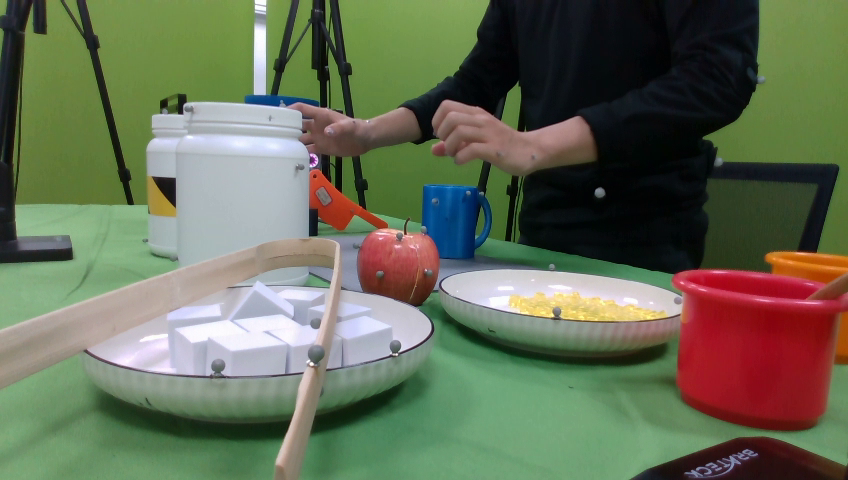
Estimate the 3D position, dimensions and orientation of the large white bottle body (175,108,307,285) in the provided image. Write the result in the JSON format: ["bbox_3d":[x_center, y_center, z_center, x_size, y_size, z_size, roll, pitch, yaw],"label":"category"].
[{"bbox_3d":[-0.188,-0.042,0.630,0.131,0.184,0.130,2,8,0],"label":"large white bottle body"}]

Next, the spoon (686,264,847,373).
[{"bbox_3d":[0.214,0.032,0.328,0.042,0.021,0.193,-3,-35,-26],"label":"spoon"}]

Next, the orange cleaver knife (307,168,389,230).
[{"bbox_3d":[-0.158,-0.060,1.166,0.212,0.077,0.012,34,-12,-31],"label":"orange cleaver knife"}]

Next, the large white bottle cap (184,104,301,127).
[{"bbox_3d":[-0.184,-0.126,0.618,0.115,0.018,0.115,2,8,0],"label":"large white bottle cap"}]

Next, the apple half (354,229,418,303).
[{"bbox_3d":[-0.044,0.027,0.564,0.081,0.081,0.033,9,5,42],"label":"apple half"}]

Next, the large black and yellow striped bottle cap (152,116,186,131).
[{"bbox_3d":[-0.309,-0.155,0.826,0.115,0.019,0.115,3,6,0],"label":"large black and yellow striped bottle cap"}]

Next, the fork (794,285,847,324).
[{"bbox_3d":[0.332,0.018,0.443,0.028,0.018,0.207,-1,-36,-15],"label":"fork"}]

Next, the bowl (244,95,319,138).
[{"bbox_3d":[-0.293,-0.251,1.249,0.151,0.077,0.151,2,7,0],"label":"bowl"}]

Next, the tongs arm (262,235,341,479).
[{"bbox_3d":[-0.074,0.039,0.349,0.051,0.026,0.384,-2,10,-3],"label":"tongs arm"}]

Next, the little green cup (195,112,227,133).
[{"bbox_3d":[-0.412,-0.227,1.171,0.061,0.038,0.061,3,8,0],"label":"little green cup"}]

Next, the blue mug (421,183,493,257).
[{"bbox_3d":[0.052,-0.032,0.912,0.117,0.106,0.082,-1,8,-24],"label":"blue mug"}]

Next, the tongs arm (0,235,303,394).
[{"bbox_3d":[-0.157,0.038,0.351,0.028,0.028,0.388,-3,8,12],"label":"tongs arm"}]

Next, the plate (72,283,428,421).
[{"bbox_3d":[-0.102,0.066,0.381,0.208,0.039,0.207,3,7,0],"label":"plate"}]

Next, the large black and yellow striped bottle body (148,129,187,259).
[{"bbox_3d":[-0.310,-0.073,0.838,0.131,0.184,0.130,2,8,0],"label":"large black and yellow striped bottle body"}]

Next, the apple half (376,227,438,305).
[{"bbox_3d":[-0.017,0.025,0.593,0.080,0.074,0.053,4,2,43],"label":"apple half"}]

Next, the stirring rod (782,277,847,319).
[{"bbox_3d":[0.344,0.019,0.460,0.014,0.006,0.176,-13,-27,-30],"label":"stirring rod"}]

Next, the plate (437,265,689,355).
[{"bbox_3d":[0.114,0.057,0.517,0.209,0.038,0.209,3,8,0],"label":"plate"}]
